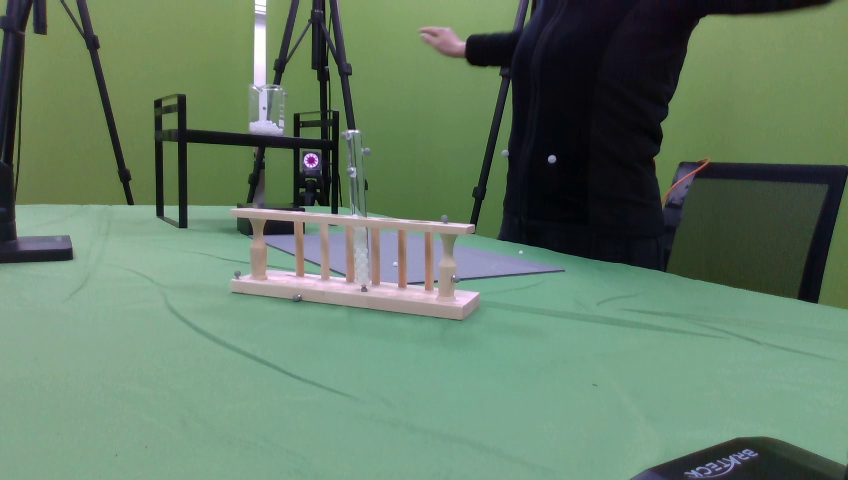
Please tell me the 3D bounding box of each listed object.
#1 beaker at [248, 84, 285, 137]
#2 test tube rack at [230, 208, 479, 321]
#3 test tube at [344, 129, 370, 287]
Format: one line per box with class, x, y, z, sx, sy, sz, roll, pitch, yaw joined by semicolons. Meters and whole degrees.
beaker;-0.321;-0.261;1.225;0.074;0.100;0.084;3;8;3
test tube rack;-0.069;0.017;0.598;0.242;0.085;0.067;5;8;18
test tube;-0.063;-0.029;0.571;0.017;0.150;0.017;-3;9;1
